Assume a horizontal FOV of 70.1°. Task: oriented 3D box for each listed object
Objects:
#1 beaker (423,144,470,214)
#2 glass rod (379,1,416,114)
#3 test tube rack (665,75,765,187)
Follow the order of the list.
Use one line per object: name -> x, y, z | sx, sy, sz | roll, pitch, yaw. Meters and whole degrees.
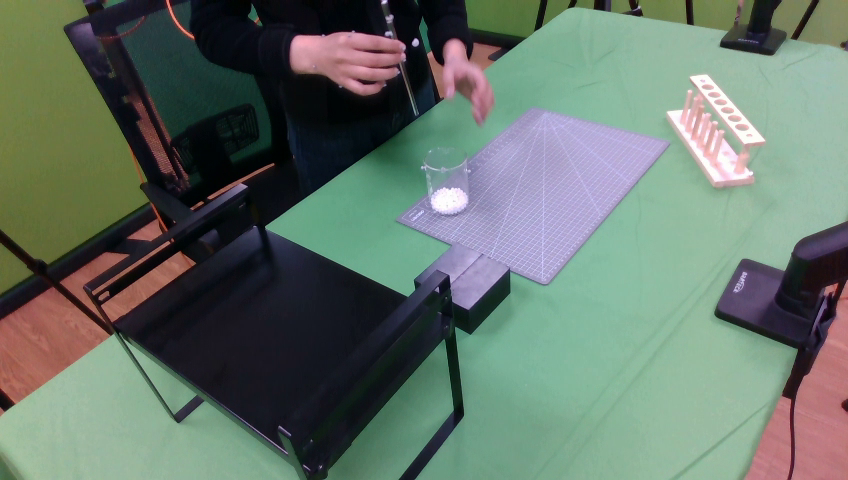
beaker -> 0.040, -0.102, 1.023 | 0.074, 0.101, 0.083 | -3, 40, 4
glass rod -> -0.037, -0.264, 0.899 | 0.008, 0.201, 0.008 | -8, 51, 10
test tube rack -> 0.512, -0.201, 1.082 | 0.067, 0.085, 0.241 | -6, 41, 2
